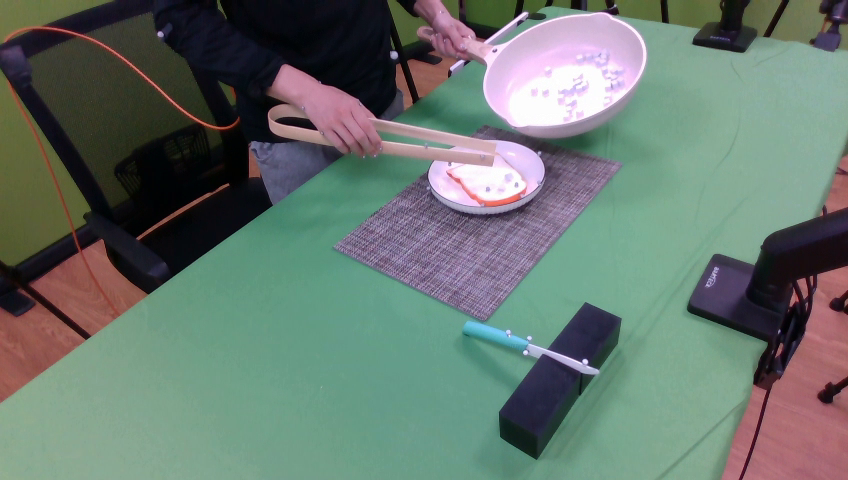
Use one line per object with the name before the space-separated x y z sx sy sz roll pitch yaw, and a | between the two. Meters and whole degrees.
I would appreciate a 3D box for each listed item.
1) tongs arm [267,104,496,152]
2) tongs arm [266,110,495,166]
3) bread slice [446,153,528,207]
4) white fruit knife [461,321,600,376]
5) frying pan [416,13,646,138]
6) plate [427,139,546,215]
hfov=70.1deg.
tongs arm | -0.070 -0.188 1.025 0.388 0.028 0.028 9 54 0
tongs arm | -0.073 -0.170 1.009 0.385 0.026 0.050 6 50 -3
bread slice | 0.118 -0.103 1.058 0.107 0.018 0.133 -23 41 -18
white fruit knife | 0.126 0.133 0.752 0.205 0.027 0.016 12 45 42
frying pan | 0.179 -0.342 1.166 0.484 0.103 0.307 30 70 27
plate | 0.109 -0.107 1.058 0.207 0.039 0.206 -4 40 4
